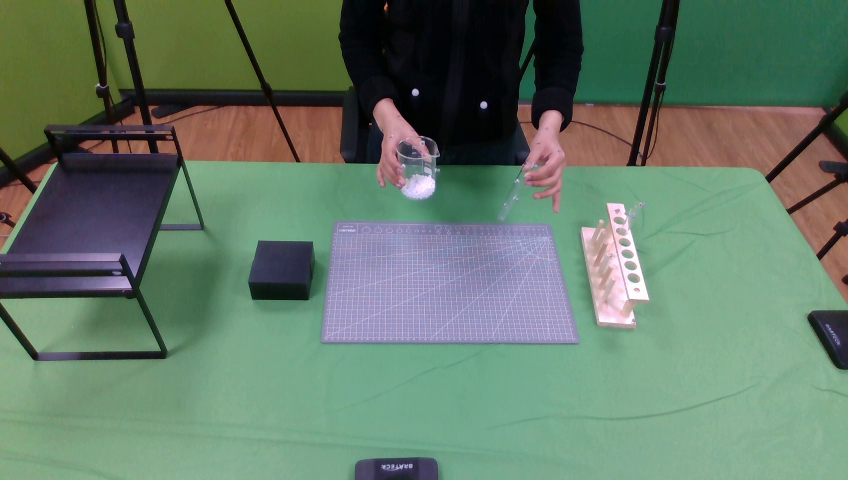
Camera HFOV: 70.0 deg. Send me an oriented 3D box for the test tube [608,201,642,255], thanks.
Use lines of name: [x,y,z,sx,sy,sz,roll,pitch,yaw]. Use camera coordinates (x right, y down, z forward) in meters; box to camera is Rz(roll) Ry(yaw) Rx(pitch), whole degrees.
test tube: [0.373,-0.019,1.133,0.017,0.151,0.017,3,52,-4]

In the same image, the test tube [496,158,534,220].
test tube: [0.161,-0.088,1.085,0.017,0.151,0.017,10,47,-11]

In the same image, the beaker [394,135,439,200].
beaker: [-0.011,-0.130,1.113,0.084,0.101,0.074,16,46,18]

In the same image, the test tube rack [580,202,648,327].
test tube rack: [0.352,0.040,1.143,0.067,0.085,0.241,4,46,0]
